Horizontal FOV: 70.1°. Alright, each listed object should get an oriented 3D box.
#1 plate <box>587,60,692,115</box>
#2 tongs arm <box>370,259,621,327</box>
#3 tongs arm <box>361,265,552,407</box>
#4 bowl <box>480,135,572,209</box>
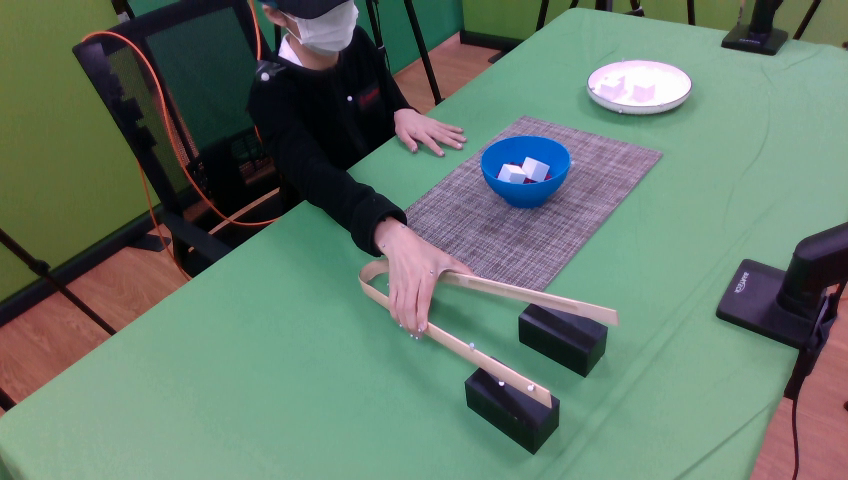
[{"bbox_3d":[0.445,-0.313,1.263,0.209,0.038,0.208,-5,40,4],"label":"plate"},{"bbox_3d":[0.079,0.068,0.826,0.384,0.028,0.028,10,46,37],"label":"tongs arm"},{"bbox_3d":[0.026,0.109,0.785,0.051,0.026,0.381,-37,37,-27],"label":"tongs arm"},{"bbox_3d":[0.172,-0.106,1.024,0.151,0.077,0.150,-4,40,4],"label":"bowl"}]
